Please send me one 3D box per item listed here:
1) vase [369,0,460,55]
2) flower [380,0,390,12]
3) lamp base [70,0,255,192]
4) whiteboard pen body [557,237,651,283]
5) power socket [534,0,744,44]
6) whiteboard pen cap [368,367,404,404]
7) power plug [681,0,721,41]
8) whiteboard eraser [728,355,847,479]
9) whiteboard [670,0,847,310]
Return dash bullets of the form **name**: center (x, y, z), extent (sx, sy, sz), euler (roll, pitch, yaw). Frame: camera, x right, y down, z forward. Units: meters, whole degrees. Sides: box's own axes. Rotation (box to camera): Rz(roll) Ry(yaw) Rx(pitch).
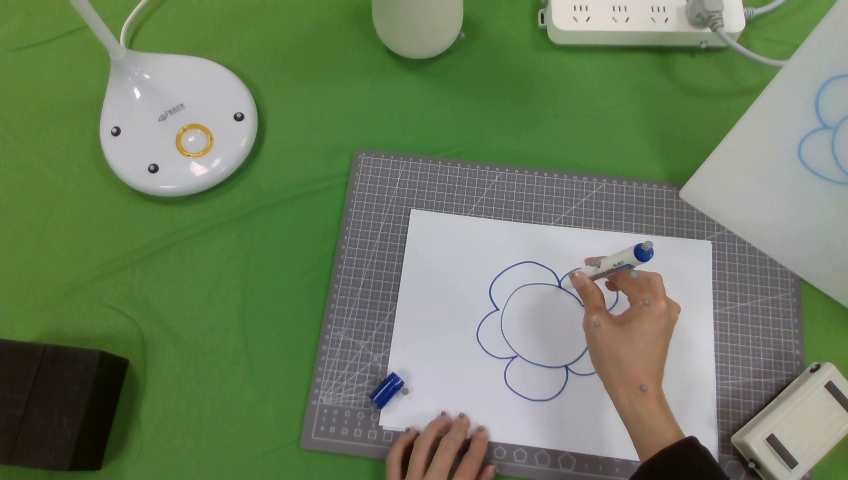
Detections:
- **vase**: center (-0.013, -0.272, 0.587), extent (0.098, 0.201, 0.097), euler (0, 71, 2)
- **flower**: center (0.005, -0.288, 0.506), extent (0.044, 0.361, 0.038), euler (-36, 92, -20)
- **lamp base**: center (-0.267, -0.156, 0.560), extent (0.178, 0.181, 0.160), euler (39, 76, 15)
- **whiteboard pen body**: center (0.148, 0.022, 0.520), extent (0.017, 0.141, 0.017), euler (4, 74, -14)
- **power socket**: center (0.237, -0.255, 0.667), extent (0.227, 0.033, 0.072), euler (1, 73, 0)
- **whiteboard pen cap**: center (-0.033, 0.131, 0.548), extent (0.018, 0.018, 0.033), euler (41, 74, 13)
- **power plug**: center (0.287, -0.232, 0.636), extent (0.035, 0.053, 0.072), euler (11, 78, 4)
- **whiteboard eraser**: center (0.322, 0.154, 0.526), extent (0.112, 0.042, 0.055), euler (-36, 74, -10)
- **whiteboard**: center (0.405, -0.111, 0.509), extent (0.216, 0.307, 0.143), euler (37, 55, 12)
